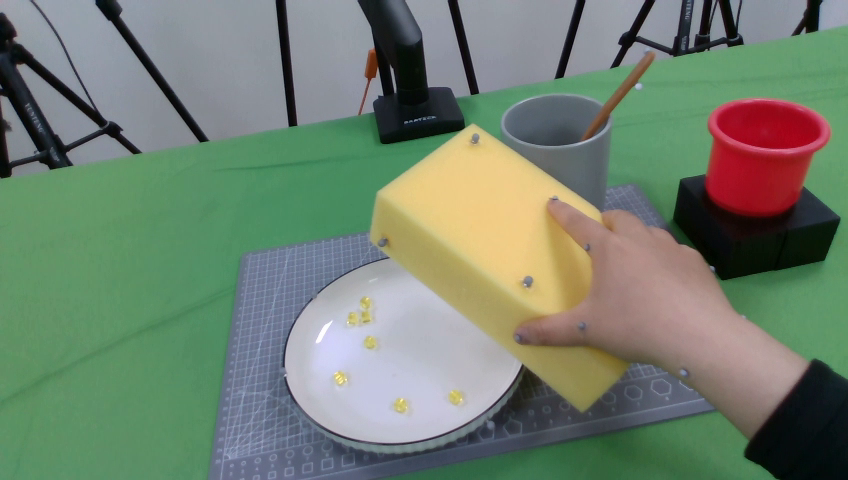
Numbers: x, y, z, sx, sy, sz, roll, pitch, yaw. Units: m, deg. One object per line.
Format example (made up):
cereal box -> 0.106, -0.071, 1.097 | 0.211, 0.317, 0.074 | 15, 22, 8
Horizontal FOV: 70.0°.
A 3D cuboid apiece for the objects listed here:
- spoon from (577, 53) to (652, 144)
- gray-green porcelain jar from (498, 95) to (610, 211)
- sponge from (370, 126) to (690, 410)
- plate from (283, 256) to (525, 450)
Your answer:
spoon -> 0.156, -0.093, 0.583 | 0.022, 0.194, 0.041 | 22, 35, -7
gray-green porcelain jar -> 0.130, -0.066, 0.613 | 0.106, 0.128, 0.105 | -5, 40, 5
sponge -> 0.076, 0.013, 0.460 | 0.205, 0.061, 0.118 | 37, 54, 16
plate -> -0.014, 0.091, 0.520 | 0.207, 0.039, 0.205 | -5, 40, 4
